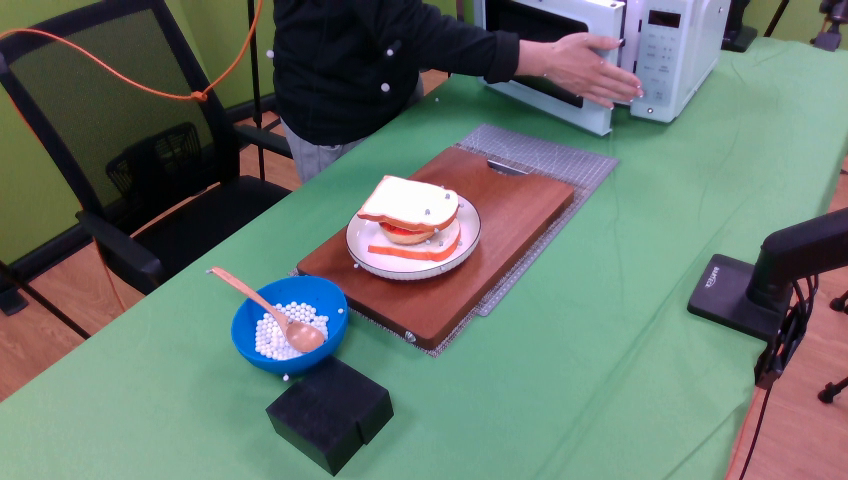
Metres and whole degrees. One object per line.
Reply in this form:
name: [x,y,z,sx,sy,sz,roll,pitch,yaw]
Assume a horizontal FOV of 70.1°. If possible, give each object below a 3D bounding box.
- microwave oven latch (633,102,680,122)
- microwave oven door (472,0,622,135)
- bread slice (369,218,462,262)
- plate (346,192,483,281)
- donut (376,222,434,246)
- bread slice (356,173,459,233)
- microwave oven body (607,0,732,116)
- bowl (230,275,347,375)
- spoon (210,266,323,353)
microwave oven latch: [0.444,-0.249,1.158,0.078,0.029,0.030,22,49,30]
microwave oven door: [0.226,-0.372,1.176,0.039,0.245,0.352,-32,46,-26]
bread slice: [-0.008,-0.009,0.929,0.131,0.019,0.105,7,44,20]
plate: [-0.013,-0.008,0.922,0.207,0.039,0.206,-4,40,4]
donut: [-0.022,-0.031,0.906,0.099,0.048,0.098,-8,41,7]
bread slice: [-0.018,-0.053,0.886,0.134,0.018,0.107,12,43,12]
microwave oven body: [0.377,-0.462,1.267,0.438,0.261,0.327,21,49,30]
bowl: [-0.170,0.125,0.802,0.151,0.077,0.150,-4,40,4]
spoon: [-0.213,0.087,0.806,0.193,0.021,0.042,36,56,11]
